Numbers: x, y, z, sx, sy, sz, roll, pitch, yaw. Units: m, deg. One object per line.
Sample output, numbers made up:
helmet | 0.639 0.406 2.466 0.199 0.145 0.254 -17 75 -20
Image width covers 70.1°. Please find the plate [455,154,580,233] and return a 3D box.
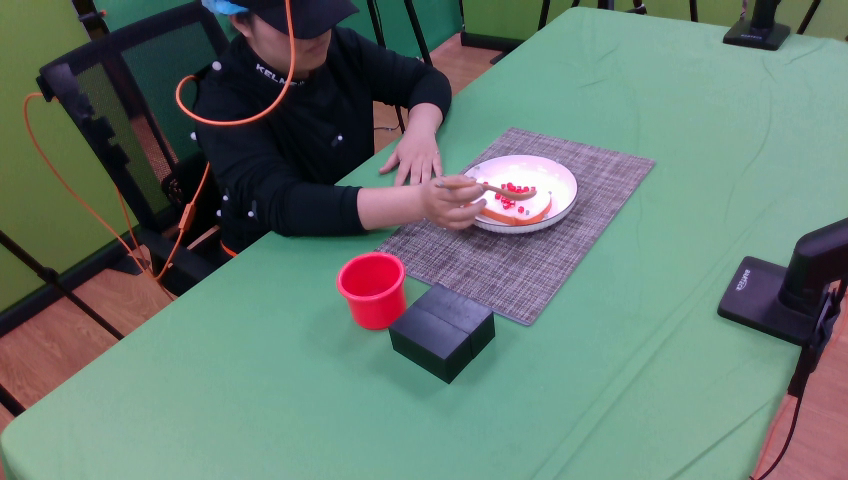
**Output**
plate | 0.158 -0.076 1.028 0.209 0.038 0.208 -5 40 5

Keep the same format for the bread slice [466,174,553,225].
bread slice | 0.152 -0.067 1.023 0.130 0.019 0.105 22 50 34

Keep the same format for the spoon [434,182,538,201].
spoon | 0.096 -0.078 0.917 0.195 0.021 0.041 6 0 -33
